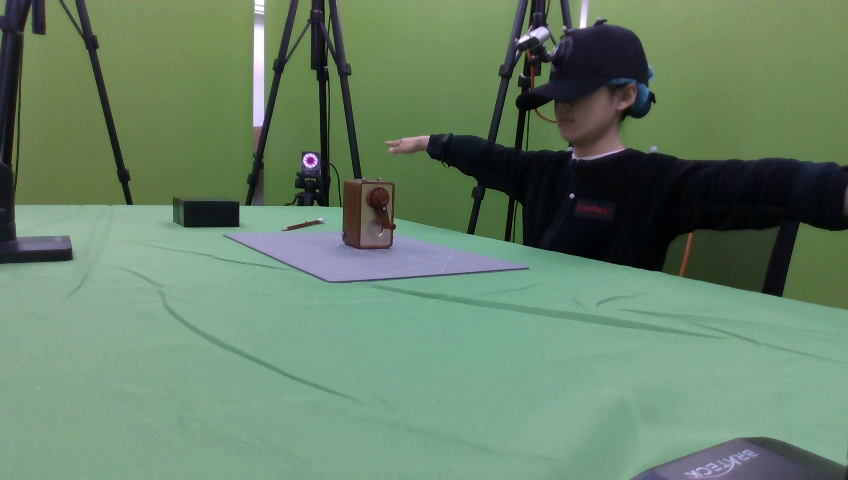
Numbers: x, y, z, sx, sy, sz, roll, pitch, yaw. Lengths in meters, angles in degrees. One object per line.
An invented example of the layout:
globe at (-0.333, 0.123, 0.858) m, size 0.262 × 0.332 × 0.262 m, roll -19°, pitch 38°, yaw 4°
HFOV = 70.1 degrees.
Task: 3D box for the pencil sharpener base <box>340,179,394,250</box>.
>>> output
pencil sharpener base at (-0.091, -0.041, 0.959) m, size 0.061 × 0.107 × 0.076 m, roll -1°, pitch 9°, yaw -30°

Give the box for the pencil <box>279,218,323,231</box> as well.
pencil at (-0.246, -0.031, 1.222) m, size 0.012 × 0.012 × 0.194 m, roll 5°, pitch 9°, yaw 14°

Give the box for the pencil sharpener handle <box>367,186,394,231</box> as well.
pencil sharpener handle at (-0.061, -0.047, 0.916) m, size 0.036 × 0.068 × 0.030 m, roll -19°, pitch 17°, yaw -26°
